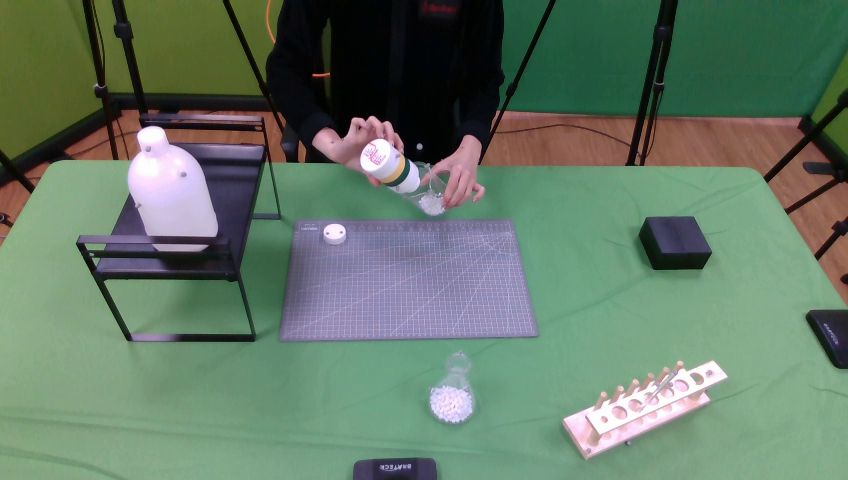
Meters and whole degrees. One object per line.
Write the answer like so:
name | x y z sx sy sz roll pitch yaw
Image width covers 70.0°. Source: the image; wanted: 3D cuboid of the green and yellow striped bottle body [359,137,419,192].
green and yellow striped bottle body | -0.055 -0.126 1.069 0.063 0.120 0.063 -13 64 28

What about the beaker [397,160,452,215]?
beaker | 0.004 -0.094 1.145 0.083 0.101 0.074 37 91 36

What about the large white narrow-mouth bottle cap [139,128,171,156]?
large white narrow-mouth bottle cap | -0.359 -0.131 0.808 0.038 0.024 0.037 3 47 -3

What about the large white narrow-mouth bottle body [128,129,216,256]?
large white narrow-mouth bottle body | -0.366 -0.073 0.872 0.102 0.195 0.101 3 47 -3

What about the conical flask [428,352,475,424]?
conical flask | 0.046 0.220 0.920 0.075 0.122 0.075 2 46 -2

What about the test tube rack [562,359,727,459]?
test tube rack | 0.341 0.247 0.940 0.243 0.085 0.066 -16 49 -18

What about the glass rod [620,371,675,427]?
glass rod | 0.316 0.230 0.863 0.008 0.200 0.008 3 54 -3

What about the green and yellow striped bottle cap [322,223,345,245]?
green and yellow striped bottle cap | -0.178 -0.013 1.197 0.045 0.020 0.045 2 49 -2
